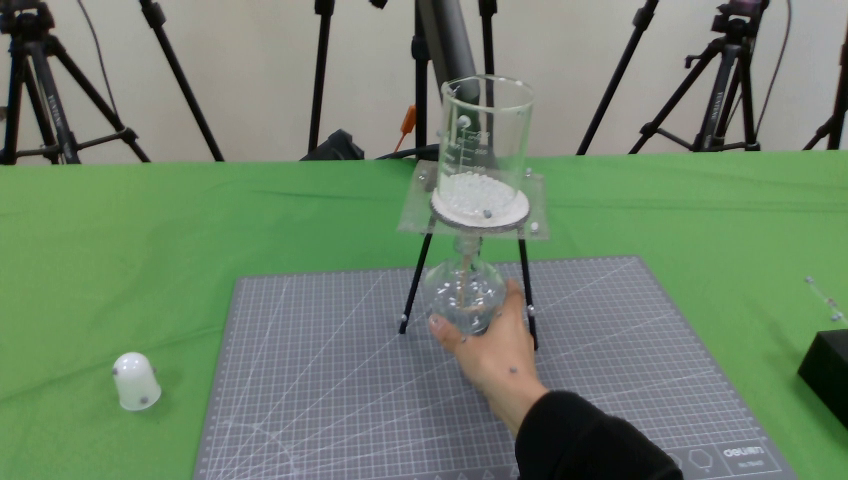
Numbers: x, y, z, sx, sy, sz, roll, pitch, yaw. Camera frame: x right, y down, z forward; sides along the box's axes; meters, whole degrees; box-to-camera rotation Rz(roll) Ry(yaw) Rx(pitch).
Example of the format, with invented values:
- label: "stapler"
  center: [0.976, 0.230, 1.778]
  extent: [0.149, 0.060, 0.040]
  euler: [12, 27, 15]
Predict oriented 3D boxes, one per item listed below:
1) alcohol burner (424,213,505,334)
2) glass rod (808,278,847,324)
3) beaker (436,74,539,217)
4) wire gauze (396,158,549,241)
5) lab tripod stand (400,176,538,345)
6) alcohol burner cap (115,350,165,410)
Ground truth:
- label: "alcohol burner"
  center: [0.038, 0.028, 0.566]
  extent: [0.078, 0.120, 0.077]
  euler: [1, 33, 0]
- label: "glass rod"
  center: [0.379, 0.094, 0.502]
  extent: [0.008, 0.008, 0.197]
  euler: [-1, 35, -4]
- label: "beaker"
  center: [0.045, -0.077, 0.499]
  extent: [0.083, 0.101, 0.074]
  euler: [29, 42, 32]
- label: "wire gauze"
  center: [0.045, -0.036, 0.525]
  extent: [0.121, 0.011, 0.124]
  euler: [5, 37, 5]
- label: "lab tripod stand"
  center: [0.050, 0.019, 0.562]
  extent: [0.148, 0.132, 0.147]
  euler: [3, 34, -2]
- label: "alcohol burner cap"
  center: [-0.235, 0.112, 0.496]
  extent: [0.034, 0.048, 0.033]
  euler: [1, 34, 0]
